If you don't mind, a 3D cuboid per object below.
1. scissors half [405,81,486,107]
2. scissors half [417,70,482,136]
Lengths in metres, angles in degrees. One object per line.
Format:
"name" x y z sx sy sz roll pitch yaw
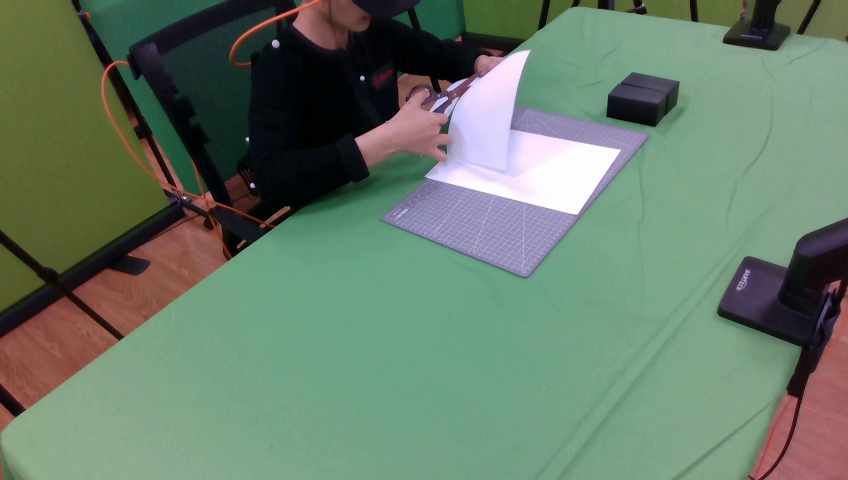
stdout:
"scissors half" 0.043 -0.283 1.141 0.176 0.040 0.012 -16 24 -23
"scissors half" 0.053 -0.263 1.151 0.175 0.040 0.012 -49 28 -7
